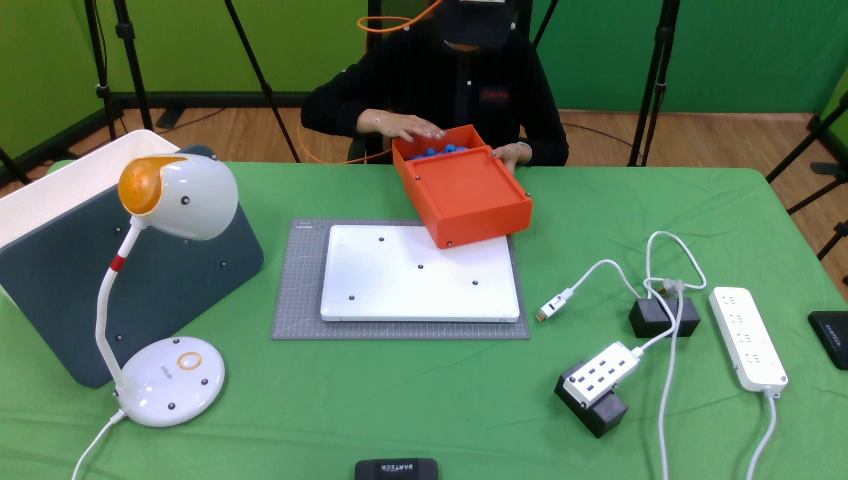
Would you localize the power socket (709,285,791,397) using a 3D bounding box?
[{"bbox_3d":[0.567,0.168,1.064,0.072,0.033,0.225,2,46,0],"label":"power socket"}]

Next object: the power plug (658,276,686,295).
[{"bbox_3d":[0.450,0.087,1.113,0.073,0.052,0.035,-13,72,-55],"label":"power plug"}]

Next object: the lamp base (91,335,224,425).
[{"bbox_3d":[-0.401,0.171,0.892,0.160,0.181,0.179,30,53,23],"label":"lamp base"}]

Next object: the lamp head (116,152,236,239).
[{"bbox_3d":[-0.315,-0.057,0.747,0.112,0.112,0.123,26,10,20],"label":"lamp head"}]

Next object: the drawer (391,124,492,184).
[{"bbox_3d":[0.051,-0.154,1.299,0.195,0.073,0.210,-12,43,-13],"label":"drawer"}]

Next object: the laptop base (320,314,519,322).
[{"bbox_3d":[-0.009,0.062,1.138,0.354,0.023,0.234,1,43,-3],"label":"laptop base"}]

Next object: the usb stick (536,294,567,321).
[{"bbox_3d":[0.226,0.123,1.083,0.059,0.027,0.021,-38,77,-8],"label":"usb stick"}]

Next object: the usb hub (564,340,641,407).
[{"bbox_3d":[0.278,0.205,0.944,0.125,0.025,0.049,-27,52,-28],"label":"usb hub"}]

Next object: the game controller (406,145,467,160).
[{"bbox_3d":[0.039,-0.176,1.341,0.155,0.052,0.096,-14,45,-12],"label":"game controller"}]

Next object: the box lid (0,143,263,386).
[{"bbox_3d":[-0.444,0.032,0.979,0.015,0.264,0.371,13,42,41],"label":"box lid"}]

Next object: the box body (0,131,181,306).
[{"bbox_3d":[-0.550,-0.007,1.068,0.253,0.161,0.363,30,51,23],"label":"box body"}]

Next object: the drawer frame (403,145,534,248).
[{"bbox_3d":[0.084,-0.095,1.228,0.202,0.083,0.212,-13,43,-15],"label":"drawer frame"}]

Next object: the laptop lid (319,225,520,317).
[{"bbox_3d":[-0.008,0.052,1.131,0.357,0.013,0.240,2,44,-2],"label":"laptop lid"}]
